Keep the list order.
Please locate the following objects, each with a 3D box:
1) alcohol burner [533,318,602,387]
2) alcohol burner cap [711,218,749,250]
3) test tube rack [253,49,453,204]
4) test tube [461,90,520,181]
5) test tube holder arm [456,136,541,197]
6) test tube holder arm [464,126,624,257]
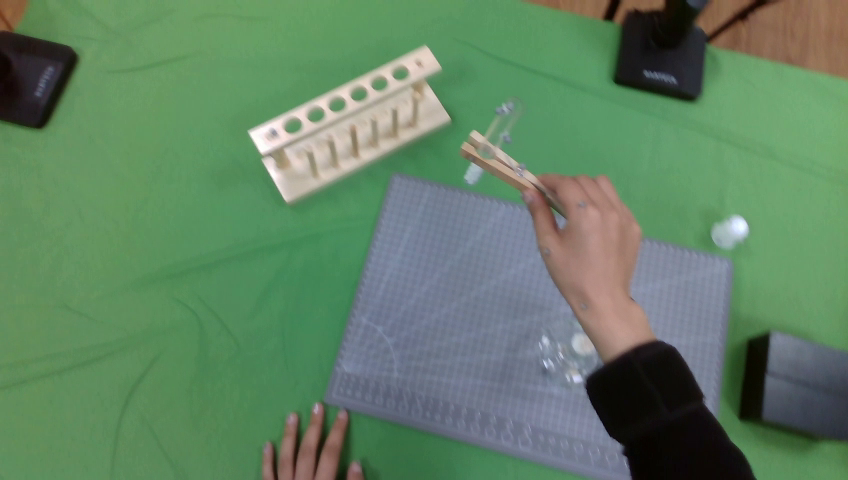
[{"bbox_3d":[0.164,0.122,0.671,0.078,0.119,0.077,1,71,-4],"label":"alcohol burner"},{"bbox_3d":[0.389,-0.009,0.766,0.034,0.048,0.033,1,71,-3],"label":"alcohol burner cap"},{"bbox_3d":[-0.080,-0.141,0.758,0.242,0.085,0.066,-28,75,-11],"label":"test tube rack"},{"bbox_3d":[0.056,-0.088,0.542,0.017,0.151,0.017,3,71,-9],"label":"test tube"},{"bbox_3d":[0.069,-0.067,0.554,0.088,0.015,0.010,31,71,2],"label":"test tube holder arm"},{"bbox_3d":[0.109,-0.045,0.553,0.178,0.015,0.013,38,72,4],"label":"test tube holder arm"}]
